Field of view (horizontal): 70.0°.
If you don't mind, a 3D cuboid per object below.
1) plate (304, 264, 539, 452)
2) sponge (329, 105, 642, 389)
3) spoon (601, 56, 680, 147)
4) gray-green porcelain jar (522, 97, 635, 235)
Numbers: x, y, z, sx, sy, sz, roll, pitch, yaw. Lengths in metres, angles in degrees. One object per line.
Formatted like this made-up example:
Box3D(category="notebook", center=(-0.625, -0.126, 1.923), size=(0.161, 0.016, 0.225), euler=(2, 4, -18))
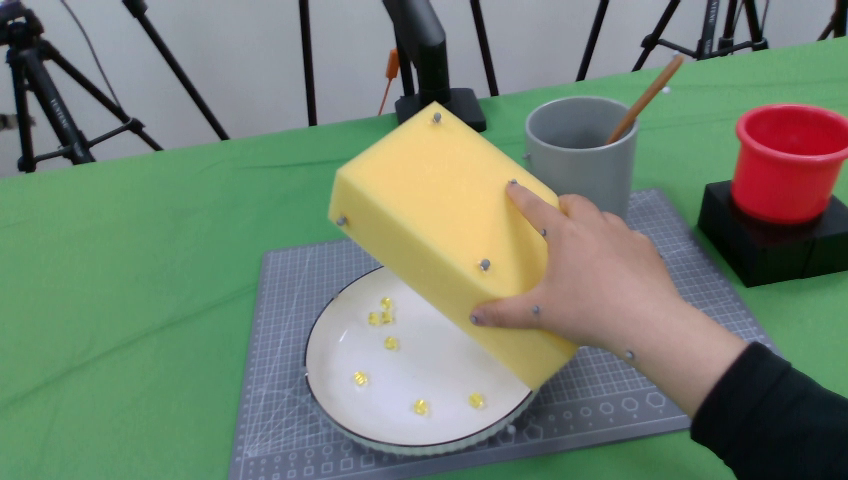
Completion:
Box3D(category="plate", center=(0.004, 0.092, 0.519), size=(0.207, 0.039, 0.205), euler=(-5, 39, 4))
Box3D(category="sponge", center=(0.045, -0.001, 0.466), size=(0.206, 0.061, 0.118), euler=(38, 55, 11))
Box3D(category="spoon", center=(0.178, -0.089, 0.578), size=(0.022, 0.194, 0.041), euler=(22, 36, -6))
Box3D(category="gray-green porcelain jar", center=(0.152, -0.062, 0.609), size=(0.106, 0.128, 0.105), euler=(-5, 40, 5))
